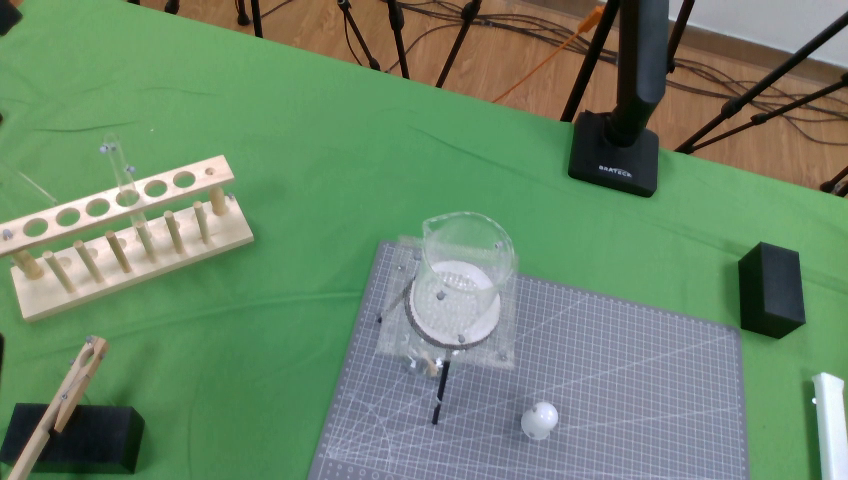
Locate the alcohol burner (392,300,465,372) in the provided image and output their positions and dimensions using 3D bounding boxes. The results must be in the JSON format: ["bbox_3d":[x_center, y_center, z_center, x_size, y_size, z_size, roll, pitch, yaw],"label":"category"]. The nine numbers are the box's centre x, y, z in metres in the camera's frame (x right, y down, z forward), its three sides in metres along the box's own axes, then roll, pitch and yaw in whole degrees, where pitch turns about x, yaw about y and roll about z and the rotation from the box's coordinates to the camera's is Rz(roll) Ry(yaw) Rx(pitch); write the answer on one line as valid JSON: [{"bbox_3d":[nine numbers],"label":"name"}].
[{"bbox_3d":[0.008,0.091,0.620,0.078,0.120,0.077,5,58,-8],"label":"alcohol burner"}]

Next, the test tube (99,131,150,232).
[{"bbox_3d":[-0.303,-0.054,0.619,0.017,0.151,0.017,5,54,-7],"label":"test tube"}]

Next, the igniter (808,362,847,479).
[{"bbox_3d":[0.432,0.261,0.639,0.057,0.025,0.274,22,59,-8],"label":"igniter"}]

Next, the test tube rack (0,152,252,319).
[{"bbox_3d":[-0.317,-0.007,0.647,0.243,0.086,0.066,-22,65,-20],"label":"test tube rack"}]

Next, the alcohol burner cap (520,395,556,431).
[{"bbox_3d":[0.120,0.178,0.629,0.034,0.048,0.033,2,62,-4],"label":"alcohol burner cap"}]

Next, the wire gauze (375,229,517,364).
[{"bbox_3d":[0.024,0.051,0.558,0.121,0.011,0.124,9,62,-2],"label":"wire gauze"}]

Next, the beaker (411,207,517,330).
[{"bbox_3d":[0.026,0.027,0.515,0.083,0.101,0.074,36,61,12],"label":"beaker"}]

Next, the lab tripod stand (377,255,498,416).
[{"bbox_3d":[0.018,0.089,0.611,0.149,0.132,0.147,5,60,-8],"label":"lab tripod stand"}]

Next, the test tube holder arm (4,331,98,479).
[{"bbox_3d":[-0.331,0.162,0.528,0.013,0.015,0.177,16,58,0],"label":"test tube holder arm"}]

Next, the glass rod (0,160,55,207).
[{"bbox_3d":[-0.347,-0.075,0.462,0.008,0.201,0.008,-2,64,4],"label":"glass rod"}]

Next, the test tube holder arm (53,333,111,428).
[{"bbox_3d":[-0.314,0.127,0.552,0.010,0.015,0.087,18,58,1],"label":"test tube holder arm"}]
